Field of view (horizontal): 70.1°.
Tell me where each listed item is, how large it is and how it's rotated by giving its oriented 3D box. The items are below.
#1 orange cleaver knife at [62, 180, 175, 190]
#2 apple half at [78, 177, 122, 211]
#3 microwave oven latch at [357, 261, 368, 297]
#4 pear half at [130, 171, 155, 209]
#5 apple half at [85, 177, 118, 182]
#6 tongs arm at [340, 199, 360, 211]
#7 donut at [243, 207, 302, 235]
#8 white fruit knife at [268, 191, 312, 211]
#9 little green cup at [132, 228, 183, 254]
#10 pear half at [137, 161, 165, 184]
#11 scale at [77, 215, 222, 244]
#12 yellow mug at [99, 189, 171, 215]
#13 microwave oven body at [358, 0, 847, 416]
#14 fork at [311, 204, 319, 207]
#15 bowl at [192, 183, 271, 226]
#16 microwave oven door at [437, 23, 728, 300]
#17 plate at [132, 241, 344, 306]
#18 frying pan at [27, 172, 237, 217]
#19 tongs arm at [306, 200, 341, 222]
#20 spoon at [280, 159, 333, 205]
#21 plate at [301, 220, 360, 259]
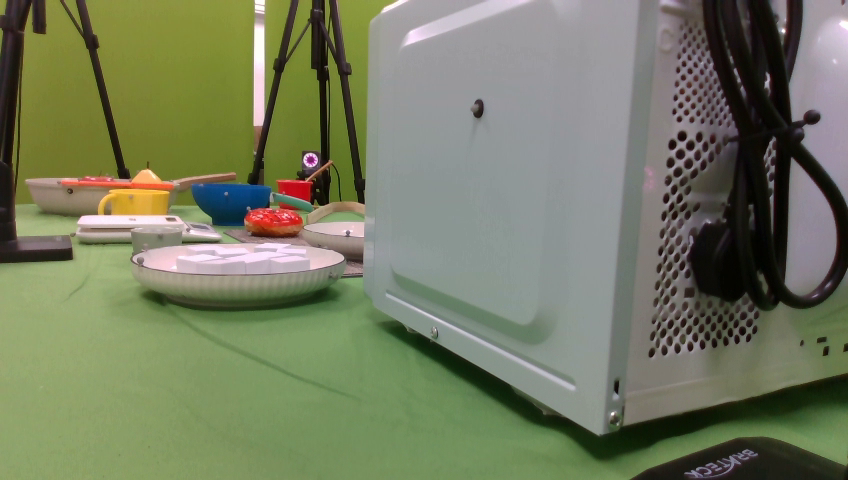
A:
[{"bbox_3d":[-0.600,-0.110,1.193,0.212,0.012,0.077,1,8,-13],"label":"orange cleaver knife"},{"bbox_3d":[-0.698,-0.099,1.298,0.081,0.074,0.053,-9,9,-40],"label":"apple half"},{"bbox_3d":[-0.019,0.033,0.531,0.079,0.029,0.030,-1,7,-27],"label":"microwave oven latch"},{"bbox_3d":[-0.640,-0.113,1.361,0.031,0.088,0.070,5,10,6],"label":"pear half"},{"bbox_3d":[-0.673,-0.096,1.269,0.082,0.081,0.032,-4,6,-40],"label":"apple half"},{"bbox_3d":[-0.149,-0.070,1.429,0.051,0.026,0.383,-4,9,-15],"label":"tongs arm"},{"bbox_3d":[-0.261,-0.032,1.043,0.099,0.048,0.099,4,9,0],"label":"donut"},{"bbox_3d":[-0.364,-0.105,1.464,0.208,0.027,0.016,15,0,-34],"label":"white fruit knife"},{"bbox_3d":[-0.342,0.006,0.779,0.061,0.038,0.061,2,8,0],"label":"little green cup"},{"bbox_3d":[-0.604,-0.120,1.354,0.056,0.110,0.076,3,11,7],"label":"pear half"},{"bbox_3d":[-0.434,-0.019,0.963,0.202,0.031,0.148,-1,9,-27],"label":"scale"},{"bbox_3d":[-0.518,-0.055,1.080,0.099,0.064,0.131,7,10,26],"label":"yellow mug"},{"bbox_3d":[0.211,-0.047,0.474,0.444,0.260,0.324,-1,7,-28],"label":"microwave oven body"},{"bbox_3d":[-0.356,-0.105,1.526,0.208,0.018,0.028,16,-6,-41],"label":"fork"},{"bbox_3d":[-0.382,-0.071,1.202,0.151,0.077,0.151,3,7,0],"label":"bowl"},{"bbox_3d":[0.180,-0.072,0.621,0.358,0.243,0.039,-2,9,-29],"label":"microwave oven door"},{"bbox_3d":[-0.187,0.033,0.625,0.208,0.039,0.207,2,8,0],"label":"plate"},{"bbox_3d":[-0.624,-0.118,1.387,0.305,0.102,0.490,8,17,32],"label":"frying pan"},{"bbox_3d":[-0.234,-0.068,1.414,0.028,0.028,0.387,-5,8,1],"label":"tongs arm"},{"bbox_3d":[-0.316,-0.159,1.640,0.194,0.022,0.041,-50,32,-20],"label":"spoon"},{"bbox_3d":[-0.077,-0.002,0.893,0.209,0.038,0.209,3,8,0],"label":"plate"}]
